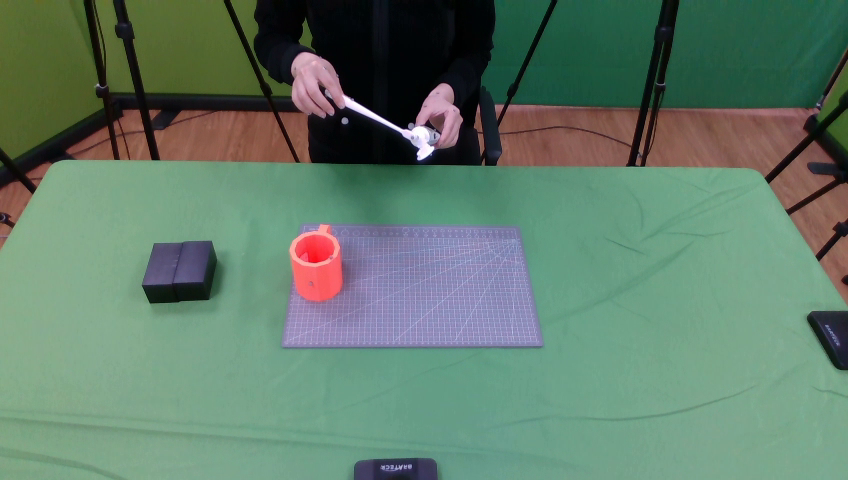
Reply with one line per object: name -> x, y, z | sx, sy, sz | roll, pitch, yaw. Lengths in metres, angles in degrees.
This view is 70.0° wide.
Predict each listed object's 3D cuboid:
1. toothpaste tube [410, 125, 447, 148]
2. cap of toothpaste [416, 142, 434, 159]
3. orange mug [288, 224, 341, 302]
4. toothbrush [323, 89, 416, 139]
toothpaste tube -> 0.006, -0.187, 1.079 | 0.055, 0.034, 0.165 | 33, 19, 2
cap of toothpaste -> 0.000, -0.149, 0.998 | 0.037, 0.011, 0.037 | -34, 24, 18
orange mug -> -0.192, 0.034, 1.094 | 0.083, 0.101, 0.125 | 7, 50, 2
toothbrush -> -0.092, -0.212, 1.012 | 0.181, 0.014, 0.016 | 28, 30, 12
